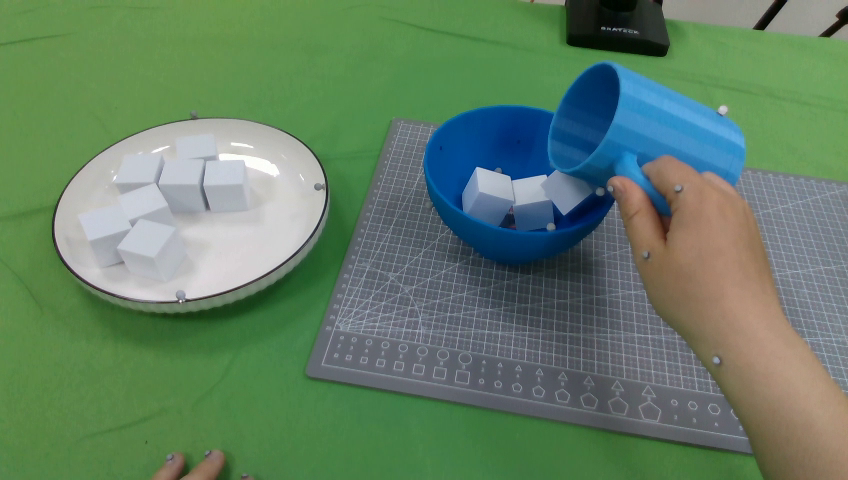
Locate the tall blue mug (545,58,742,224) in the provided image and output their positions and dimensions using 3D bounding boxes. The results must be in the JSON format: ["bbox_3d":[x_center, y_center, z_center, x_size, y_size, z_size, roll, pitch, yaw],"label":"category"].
[{"bbox_3d":[0.154,-0.064,0.405,0.108,0.078,0.106,16,13,-21],"label":"tall blue mug"}]

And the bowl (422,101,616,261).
[{"bbox_3d":[0.071,-0.036,0.487,0.151,0.077,0.150,2,48,-2],"label":"bowl"}]

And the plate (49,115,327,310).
[{"bbox_3d":[-0.183,-0.025,0.491,0.209,0.038,0.207,3,49,-3],"label":"plate"}]
